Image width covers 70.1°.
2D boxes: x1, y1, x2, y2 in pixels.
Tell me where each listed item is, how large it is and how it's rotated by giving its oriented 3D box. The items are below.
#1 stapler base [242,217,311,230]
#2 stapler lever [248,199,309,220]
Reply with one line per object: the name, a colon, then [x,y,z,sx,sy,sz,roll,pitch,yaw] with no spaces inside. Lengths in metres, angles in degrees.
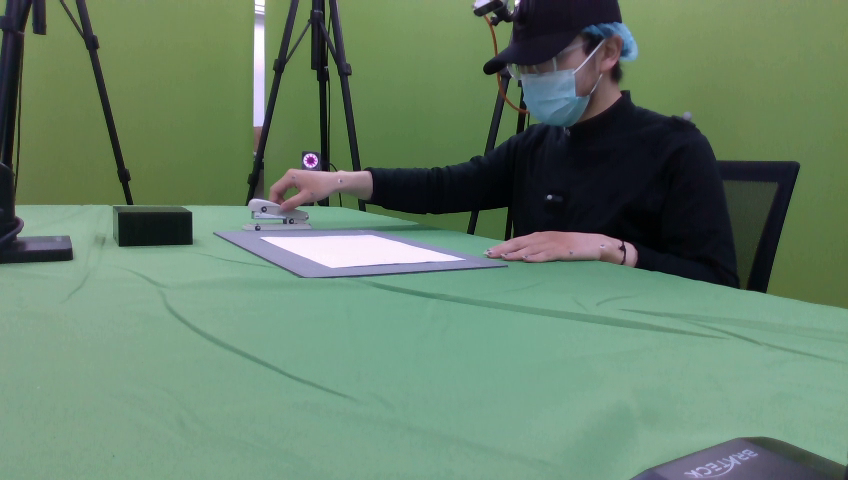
stapler base: [-0.284,-0.033,1.170,0.131,0.024,0.041,-1,11,-37]
stapler lever: [-0.281,-0.058,1.168,0.119,0.040,0.026,-1,11,-37]
